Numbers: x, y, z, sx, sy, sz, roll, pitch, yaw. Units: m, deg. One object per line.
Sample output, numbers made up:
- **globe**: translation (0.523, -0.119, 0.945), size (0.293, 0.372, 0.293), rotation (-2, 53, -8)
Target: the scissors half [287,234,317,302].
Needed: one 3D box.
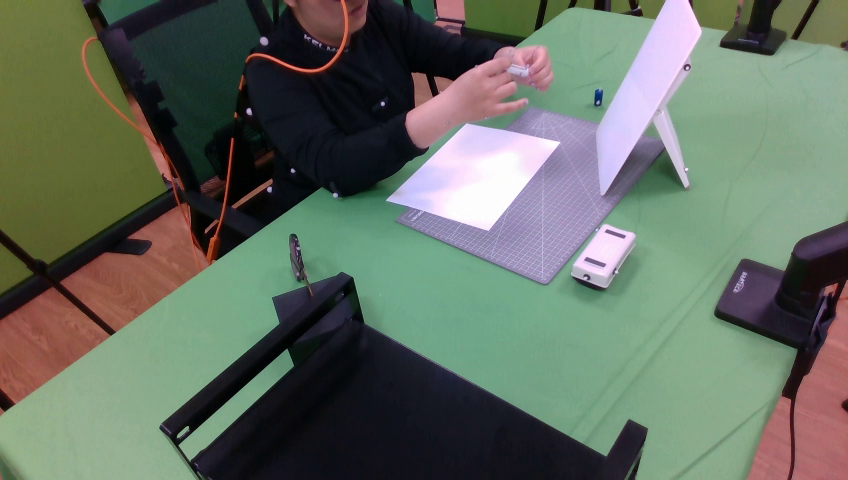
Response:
- **scissors half**: translation (-0.179, 0.040, 0.885), size (0.013, 0.040, 0.173), rotation (-11, 36, -21)

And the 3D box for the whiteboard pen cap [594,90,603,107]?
- **whiteboard pen cap**: translation (0.364, -0.294, 1.262), size (0.018, 0.033, 0.018), rotation (-6, 41, 6)

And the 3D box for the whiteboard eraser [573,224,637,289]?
- **whiteboard eraser**: translation (0.267, 0.025, 0.891), size (0.055, 0.042, 0.113), rotation (19, 47, 31)

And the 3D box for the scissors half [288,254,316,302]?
- **scissors half**: translation (-0.178, 0.058, 0.894), size (0.013, 0.040, 0.174), rotation (-16, 20, -18)

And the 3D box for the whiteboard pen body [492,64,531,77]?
- **whiteboard pen body**: translation (0.149, -0.289, 1.031), size (0.017, 0.017, 0.141), rotation (20, 20, 29)

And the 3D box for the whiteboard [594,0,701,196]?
- **whiteboard**: translation (0.420, -0.227, 1.010), size (0.144, 0.305, 0.216), rotation (18, 42, -2)
